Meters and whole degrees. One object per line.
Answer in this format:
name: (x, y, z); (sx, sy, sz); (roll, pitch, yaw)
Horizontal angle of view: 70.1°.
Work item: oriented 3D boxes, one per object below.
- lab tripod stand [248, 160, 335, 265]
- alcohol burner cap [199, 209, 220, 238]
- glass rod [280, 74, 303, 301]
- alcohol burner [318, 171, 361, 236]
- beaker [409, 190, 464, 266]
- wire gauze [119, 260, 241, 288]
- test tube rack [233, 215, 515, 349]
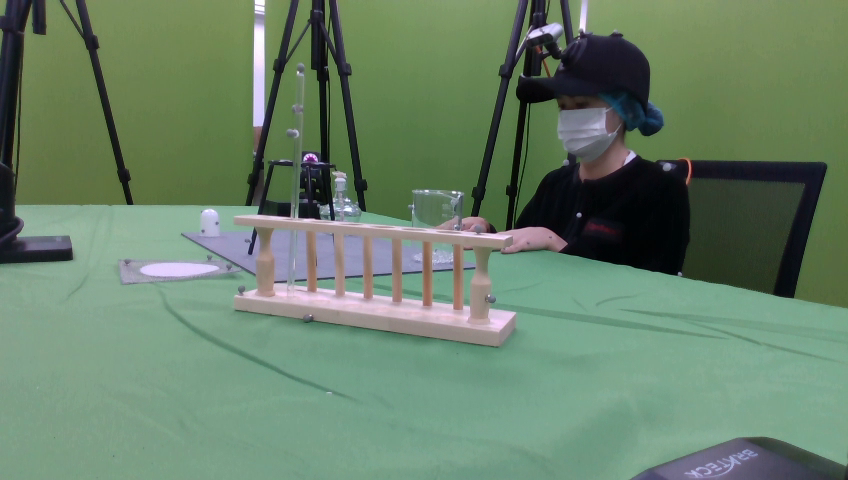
lab tripod stand: (-0.165, -0.041, 0.817); (0.148, 0.131, 0.148); (5, 7, 0)
alcohol burner cap: (-0.355, -0.027, 1.002); (0.034, 0.048, 0.034); (2, 7, 0)
glass rod: (-0.114, -0.040, 0.516); (0.008, 0.199, 0.008); (7, 14, -1)
alcohol burner: (-0.155, -0.067, 1.104); (0.078, 0.119, 0.078); (1, 8, 0)
beaker: (0.018, -0.017, 0.840); (0.074, 0.100, 0.083); (-3, 10, -35)
wire gauze: (-0.288, 0.034, 0.706); (0.122, 0.011, 0.124); (-3, 10, -29)
test tube rack: (-0.045, 0.029, 0.526); (0.241, 0.085, 0.067); (5, 8, 19)
